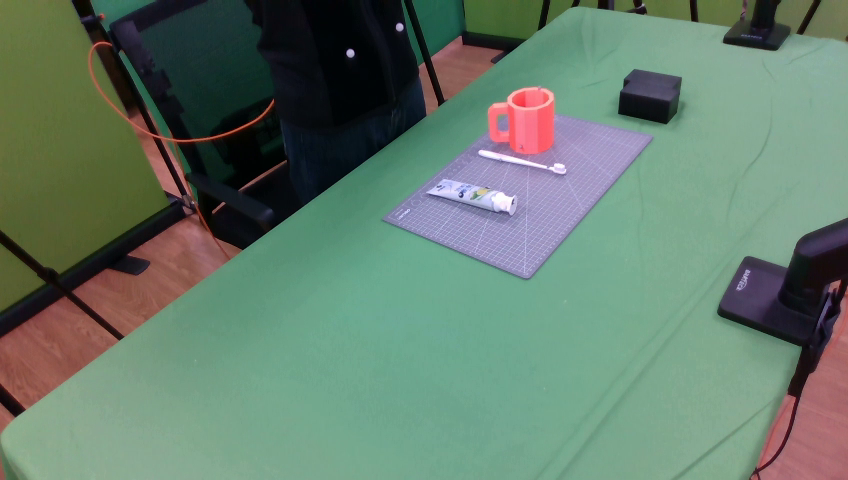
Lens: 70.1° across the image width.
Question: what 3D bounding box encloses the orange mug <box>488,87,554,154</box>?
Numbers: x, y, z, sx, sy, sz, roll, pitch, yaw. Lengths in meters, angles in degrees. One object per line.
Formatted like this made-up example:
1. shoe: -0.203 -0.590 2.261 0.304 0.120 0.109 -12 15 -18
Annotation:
1. orange mug: 0.185 -0.227 1.151 0.126 0.101 0.083 1 41 5

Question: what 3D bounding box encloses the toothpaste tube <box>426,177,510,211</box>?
1. toothpaste tube: 0.083 -0.081 1.054 0.164 0.034 0.055 18 40 34

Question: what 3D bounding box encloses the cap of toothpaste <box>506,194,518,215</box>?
1. cap of toothpaste: 0.146 -0.060 1.008 0.011 0.037 0.037 14 46 22

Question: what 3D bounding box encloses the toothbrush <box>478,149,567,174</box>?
1. toothbrush: 0.179 -0.149 1.123 0.180 0.017 0.014 18 62 30
